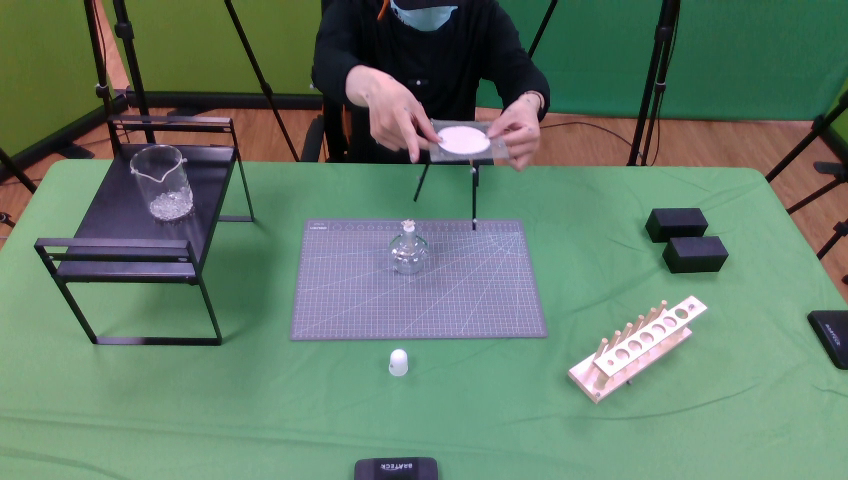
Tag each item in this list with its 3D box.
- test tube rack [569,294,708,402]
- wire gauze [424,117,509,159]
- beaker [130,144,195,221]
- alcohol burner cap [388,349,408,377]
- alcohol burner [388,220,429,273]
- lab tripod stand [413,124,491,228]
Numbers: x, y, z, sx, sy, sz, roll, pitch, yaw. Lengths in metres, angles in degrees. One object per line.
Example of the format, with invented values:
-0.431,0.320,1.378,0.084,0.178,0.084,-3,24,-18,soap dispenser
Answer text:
0.360,0.167,1.014,0.242,0.085,0.066,-25,53,-25,test tube rack
0.064,-0.161,0.948,0.121,0.011,0.124,0,38,-7,wire gauze
-0.403,-0.085,0.944,0.074,0.101,0.083,-15,50,-17,beaker
-0.042,0.197,0.989,0.034,0.048,0.033,3,46,-2,alcohol burner cap
-0.028,0.006,1.118,0.078,0.119,0.077,2,48,-2,alcohol burner
0.057,-0.114,0.995,0.148,0.132,0.147,3,39,-2,lab tripod stand
